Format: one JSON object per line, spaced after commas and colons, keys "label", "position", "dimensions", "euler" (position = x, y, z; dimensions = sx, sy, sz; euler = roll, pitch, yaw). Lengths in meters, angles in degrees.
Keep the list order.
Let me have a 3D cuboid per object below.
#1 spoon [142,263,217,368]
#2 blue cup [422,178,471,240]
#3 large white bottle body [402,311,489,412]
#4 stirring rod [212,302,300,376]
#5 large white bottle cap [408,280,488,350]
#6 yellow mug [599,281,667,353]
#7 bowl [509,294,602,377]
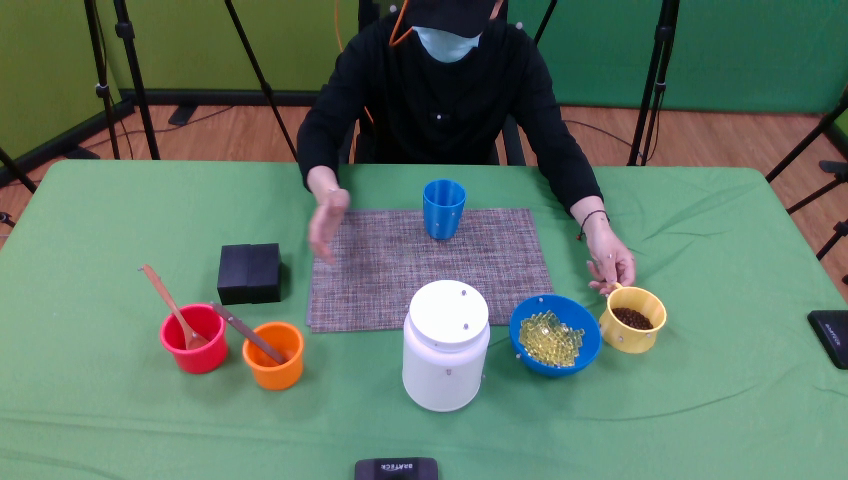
{"label": "spoon", "position": [-0.392, 0.120, 0.968], "dimensions": [0.041, 0.021, 0.194], "euler": [-33, 100, -29]}
{"label": "blue cup", "position": [0.036, -0.056, 1.192], "dimensions": [0.093, 0.101, 0.092], "euler": [3, 45, -3]}
{"label": "large white bottle body", "position": [0.031, 0.163, 0.928], "dimensions": [0.131, 0.185, 0.130], "euler": [2, 46, -1]}
{"label": "stirring rod", "position": [-0.261, 0.156, 0.948], "dimensions": [0.177, 0.006, 0.014], "euler": [45, 45, -19]}
{"label": "large white bottle cap", "position": [0.034, 0.105, 0.867], "dimensions": [0.115, 0.018, 0.114], "euler": [2, 46, -1]}
{"label": "yellow mug", "position": [0.360, 0.127, 1.069], "dimensions": [0.100, 0.064, 0.130], "euler": [-11, 46, -13]}
{"label": "bowl", "position": [0.211, 0.172, 1.007], "dimensions": [0.151, 0.077, 0.150], "euler": [2, 46, -2]}
